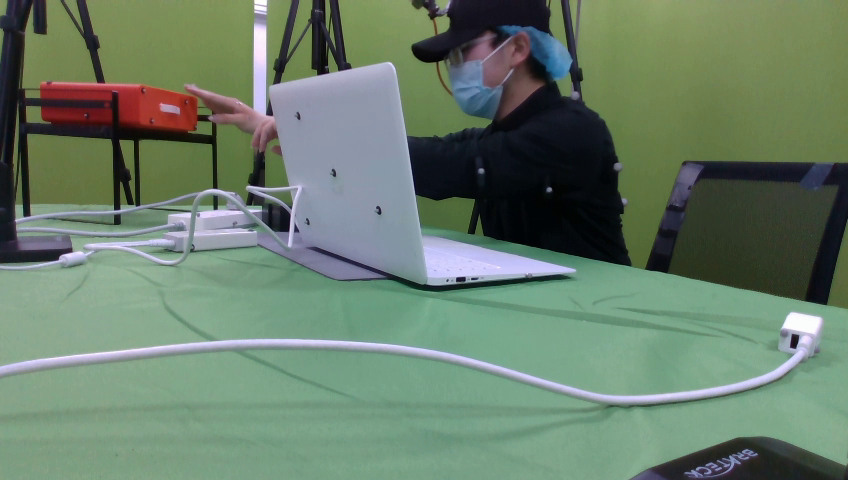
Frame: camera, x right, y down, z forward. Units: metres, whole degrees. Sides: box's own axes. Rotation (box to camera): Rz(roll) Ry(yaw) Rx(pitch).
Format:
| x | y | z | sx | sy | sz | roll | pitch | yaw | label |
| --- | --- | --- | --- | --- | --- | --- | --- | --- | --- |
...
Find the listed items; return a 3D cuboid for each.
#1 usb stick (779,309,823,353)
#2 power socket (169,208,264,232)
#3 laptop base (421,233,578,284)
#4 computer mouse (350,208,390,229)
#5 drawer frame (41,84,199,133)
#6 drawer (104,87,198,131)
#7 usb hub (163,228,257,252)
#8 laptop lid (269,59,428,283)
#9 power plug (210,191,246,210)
| x | y | z | sx | sy | sz | roll | pitch | yaw | label |
| --- | --- | --- | --- | --- | --- | --- | --- | --- | --- |
| 0.311 | 0.072 | 0.496 | 0.027 | 0.021 | 0.059 | 8 | 15 | 34 | usb stick |
| -0.380 | -0.038 | 1.128 | 0.072 | 0.032 | 0.227 | 4 | 8 | 17 | power socket |
| 0.007 | 0.022 | 0.850 | 0.237 | 0.023 | 0.352 | 1 | 7 | -34 | laptop base |
| -0.111 | -0.044 | 1.231 | 0.063 | 0.041 | 0.117 | -3 | 2 | -18 | computer mouse |
| -0.604 | -0.264 | 1.225 | 0.213 | 0.082 | 0.202 | 3 | 8 | 8 | drawer frame |
| -0.602 | -0.263 | 1.225 | 0.211 | 0.073 | 0.195 | 3 | 8 | 10 | drawer |
| -0.314 | -0.001 | 0.894 | 0.049 | 0.025 | 0.126 | 9 | 11 | 41 | usb hub |
| -0.110 | -0.087 | 0.752 | 0.013 | 0.241 | 0.355 | -18 | 19 | -30 | laptop lid |
| -0.386 | -0.071 | 1.203 | 0.072 | 0.052 | 0.035 | 8 | 10 | 26 | power plug |
